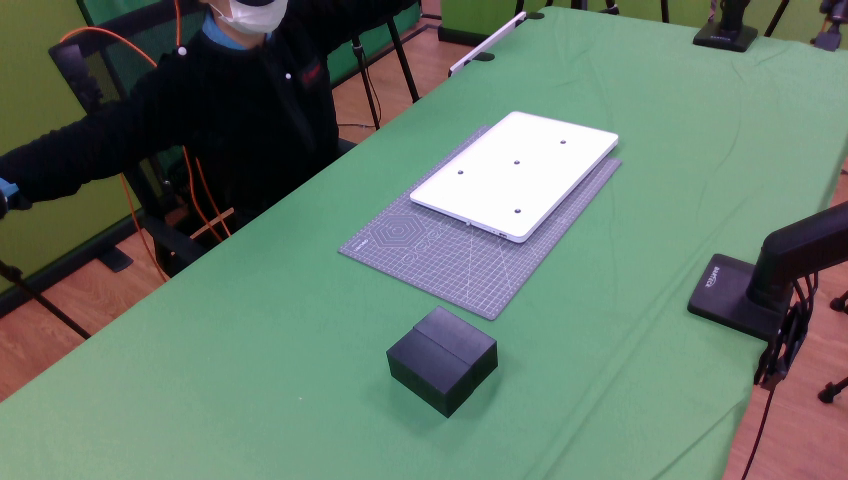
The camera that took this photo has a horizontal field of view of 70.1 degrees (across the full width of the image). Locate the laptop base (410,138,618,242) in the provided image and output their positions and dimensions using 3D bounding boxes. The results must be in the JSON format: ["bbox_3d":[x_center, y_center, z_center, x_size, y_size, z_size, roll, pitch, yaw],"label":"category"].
[{"bbox_3d":[0.170,-0.126,1.096,0.233,0.023,0.355,21,47,33],"label":"laptop base"}]

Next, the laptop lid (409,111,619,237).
[{"bbox_3d":[0.168,-0.136,1.089,0.239,0.013,0.358,23,48,34],"label":"laptop lid"}]
